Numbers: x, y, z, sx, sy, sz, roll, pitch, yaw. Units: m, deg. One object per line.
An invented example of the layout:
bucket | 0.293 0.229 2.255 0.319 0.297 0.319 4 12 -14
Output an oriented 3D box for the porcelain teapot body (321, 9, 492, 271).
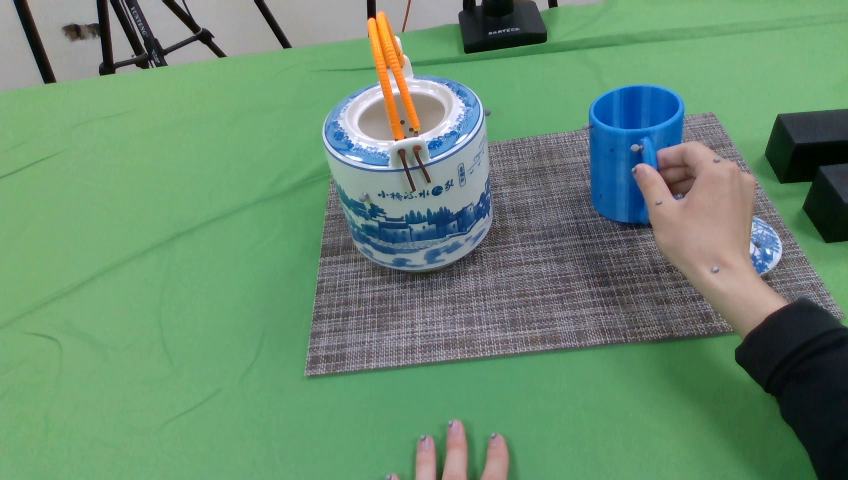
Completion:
porcelain teapot body | -0.021 -0.108 0.565 0.145 0.227 0.203 -12 45 -1

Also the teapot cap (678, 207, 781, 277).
teapot cap | 0.271 -0.004 0.537 0.085 0.044 0.084 -3 43 3

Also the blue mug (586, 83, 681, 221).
blue mug | 0.199 -0.073 0.569 0.082 0.107 0.115 -8 42 9
